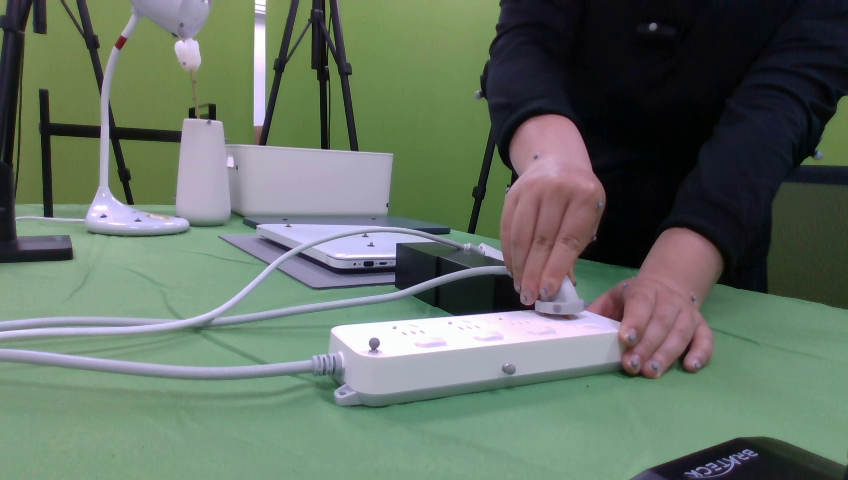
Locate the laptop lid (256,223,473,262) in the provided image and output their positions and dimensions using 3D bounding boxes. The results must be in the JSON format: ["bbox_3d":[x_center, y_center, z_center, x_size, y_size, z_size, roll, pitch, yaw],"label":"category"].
[{"bbox_3d":[-0.092,0.000,0.911,0.243,0.013,0.355,1,7,-30],"label":"laptop lid"}]

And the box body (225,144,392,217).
[{"bbox_3d":[-0.289,-0.143,1.474,0.366,0.160,0.253,-1,9,-29],"label":"box body"}]

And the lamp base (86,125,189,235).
[{"bbox_3d":[-0.497,-0.105,1.026,0.179,0.180,0.160,1,7,3],"label":"lamp base"}]

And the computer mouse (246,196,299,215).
[{"bbox_3d":[-0.355,-0.082,1.417,0.117,0.041,0.063,1,9,7],"label":"computer mouse"}]

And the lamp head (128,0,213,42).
[{"bbox_3d":[-0.423,-0.394,0.980,0.123,0.112,0.112,20,7,-3],"label":"lamp head"}]

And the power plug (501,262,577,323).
[{"bbox_3d":[0.087,0.049,0.468,0.035,0.052,0.072,12,4,-26],"label":"power plug"}]

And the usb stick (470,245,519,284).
[{"bbox_3d":[0.081,0.030,0.671,0.059,0.021,0.027,28,20,-26],"label":"usb stick"}]

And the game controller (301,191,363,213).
[{"bbox_3d":[-0.240,-0.098,1.550,0.155,0.051,0.097,3,10,5],"label":"game controller"}]

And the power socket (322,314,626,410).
[{"bbox_3d":[0.040,0.076,0.410,0.228,0.032,0.072,-1,7,-27],"label":"power socket"}]

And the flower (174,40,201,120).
[{"bbox_3d":[-0.430,-0.211,1.165,0.044,0.361,0.038,-10,-5,-22],"label":"flower"}]

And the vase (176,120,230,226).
[{"bbox_3d":[-0.425,-0.128,1.159,0.098,0.200,0.098,2,9,0],"label":"vase"}]

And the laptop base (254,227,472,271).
[{"bbox_3d":[-0.096,0.012,0.911,0.237,0.023,0.352,2,7,-32],"label":"laptop base"}]

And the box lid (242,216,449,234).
[{"bbox_3d":[-0.162,-0.030,1.233,0.373,0.015,0.262,-1,8,-32],"label":"box lid"}]
